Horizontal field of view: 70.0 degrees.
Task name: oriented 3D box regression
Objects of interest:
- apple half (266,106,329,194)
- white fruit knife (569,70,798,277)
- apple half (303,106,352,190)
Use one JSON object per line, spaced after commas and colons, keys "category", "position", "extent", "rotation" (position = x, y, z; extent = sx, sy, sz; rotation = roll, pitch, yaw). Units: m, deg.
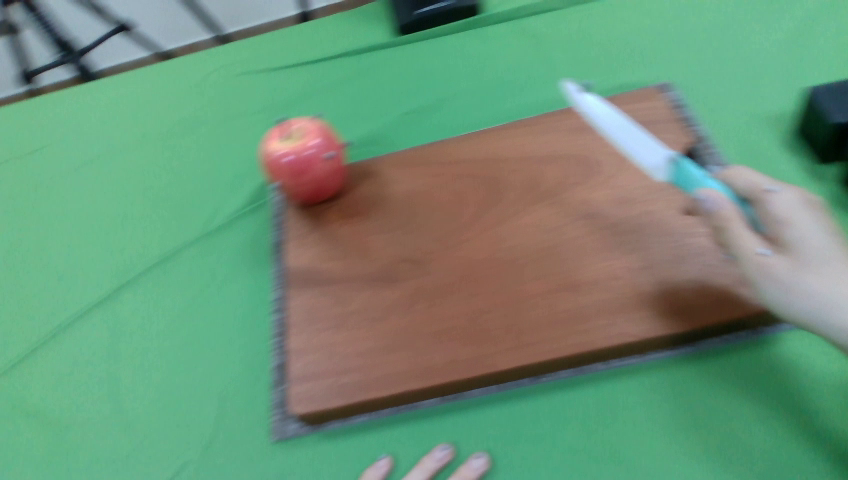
{"category": "apple half", "position": [-0.124, -0.085, 0.592], "extent": [0.053, 0.075, 0.080], "rotation": [-8, 55, 13]}
{"category": "white fruit knife", "position": [0.180, -0.054, 0.430], "extent": [0.206, 0.027, 0.016], "rotation": [44, 35, 12]}
{"category": "apple half", "position": [-0.086, -0.089, 0.584], "extent": [0.033, 0.082, 0.080], "rotation": [-8, 52, 13]}
